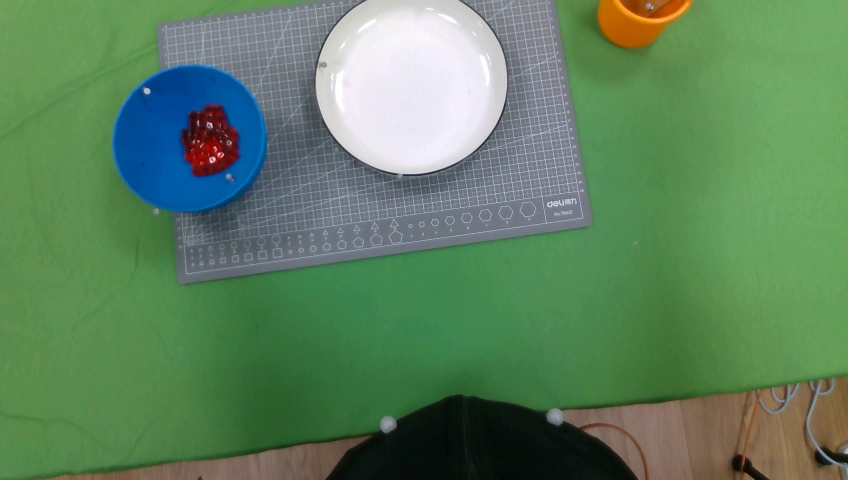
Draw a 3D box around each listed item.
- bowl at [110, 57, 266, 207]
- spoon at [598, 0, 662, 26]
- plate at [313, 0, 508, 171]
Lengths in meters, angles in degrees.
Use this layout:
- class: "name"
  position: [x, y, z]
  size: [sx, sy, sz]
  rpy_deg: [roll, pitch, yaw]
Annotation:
- class: "bowl"
  position: [-0.231, -0.102, 0.628]
  size: [0.151, 0.077, 0.151]
  rpy_deg: [0, 83, 0]
- class: "spoon"
  position: [0.267, -0.257, 0.612]
  size: [0.022, 0.192, 0.041]
  rpy_deg: [10, 83, -42]
- class: "plate"
  position: [-0.014, -0.174, 0.657]
  size: [0.209, 0.038, 0.208]
  rpy_deg: [0, 83, 1]
